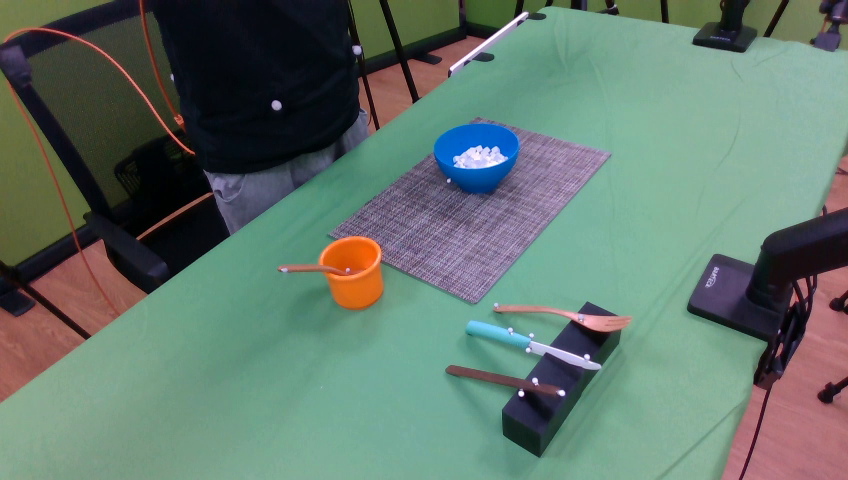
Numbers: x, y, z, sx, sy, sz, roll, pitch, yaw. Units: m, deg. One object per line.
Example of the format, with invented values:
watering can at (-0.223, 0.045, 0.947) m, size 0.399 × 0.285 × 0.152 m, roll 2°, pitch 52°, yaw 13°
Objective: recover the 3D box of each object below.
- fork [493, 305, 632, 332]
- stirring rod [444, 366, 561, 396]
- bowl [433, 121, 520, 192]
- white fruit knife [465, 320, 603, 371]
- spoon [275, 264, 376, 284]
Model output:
fork at (0.171, 0.097, 0.783) m, size 0.205 × 0.019 × 0.028 m, roll 4°, pitch 41°, yaw 43°
stirring rod at (0.088, 0.166, 0.718) m, size 0.175 × 0.006 × 0.014 m, roll -1°, pitch 25°, yaw 48°
bowl at (0.094, -0.137, 1.064) m, size 0.151 × 0.077 × 0.150 m, roll -4°, pitch 41°, yaw 4°
white fruit knife at (0.128, 0.129, 0.750) m, size 0.205 × 0.027 × 0.016 m, roll 11°, pitch 45°, yaw 44°
spoon at (-0.133, 0.044, 0.840) m, size 0.041 × 0.195 × 0.021 m, roll 26°, pitch 95°, yaw 33°
